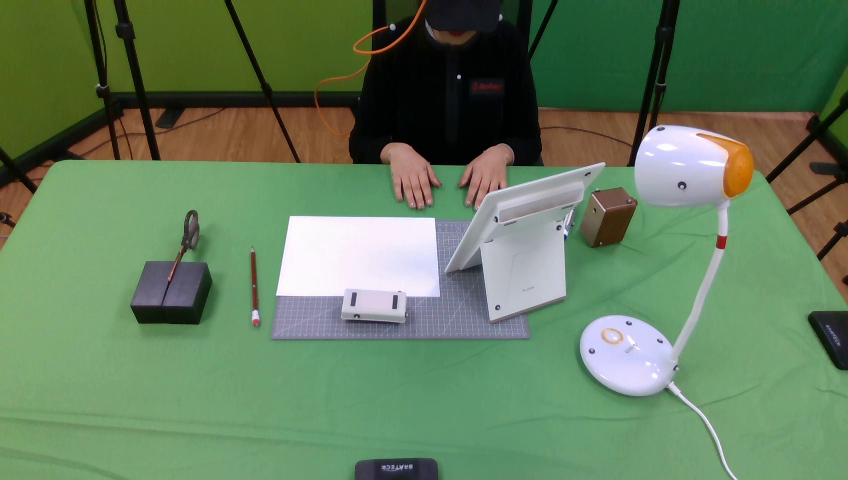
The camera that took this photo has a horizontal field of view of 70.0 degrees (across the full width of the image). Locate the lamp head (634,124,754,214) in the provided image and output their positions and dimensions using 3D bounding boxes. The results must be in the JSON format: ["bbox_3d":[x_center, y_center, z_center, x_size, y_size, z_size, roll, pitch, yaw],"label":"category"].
[{"bbox_3d":[0.351,-0.089,0.776,0.112,0.113,0.122,-30,30,-28],"label":"lamp head"}]

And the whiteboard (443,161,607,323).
[{"bbox_3d":[0.185,0.025,1.029,0.217,0.306,0.143,-15,68,-18],"label":"whiteboard"}]

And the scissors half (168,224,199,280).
[{"bbox_3d":[-0.441,0.023,1.111,0.013,0.040,0.174,9,29,-8],"label":"scissors half"}]

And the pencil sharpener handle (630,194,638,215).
[{"bbox_3d":[0.417,-0.068,1.215,0.031,0.068,0.036,-11,60,-14],"label":"pencil sharpener handle"}]

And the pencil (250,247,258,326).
[{"bbox_3d":[-0.312,0.079,1.107,0.012,0.012,0.192,-7,46,-11],"label":"pencil"}]

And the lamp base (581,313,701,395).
[{"bbox_3d":[0.361,0.144,0.972,0.178,0.181,0.160,34,53,23],"label":"lamp base"}]

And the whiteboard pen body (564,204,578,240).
[{"bbox_3d":[0.307,-0.052,1.270,0.017,0.017,0.140,17,49,12],"label":"whiteboard pen body"}]

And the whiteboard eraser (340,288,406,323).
[{"bbox_3d":[-0.088,0.117,1.060,0.113,0.042,0.055,3,45,-1],"label":"whiteboard eraser"}]

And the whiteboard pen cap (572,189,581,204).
[{"bbox_3d":[0.329,-0.093,1.307,0.018,0.018,0.033,18,51,12],"label":"whiteboard pen cap"}]

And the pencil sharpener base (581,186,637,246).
[{"bbox_3d":[0.369,-0.047,1.209,0.077,0.107,0.061,-11,48,-14],"label":"pencil sharpener base"}]

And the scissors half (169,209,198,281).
[{"bbox_3d":[-0.438,0.007,1.099,0.013,0.040,0.174,5,47,-5],"label":"scissors half"}]
